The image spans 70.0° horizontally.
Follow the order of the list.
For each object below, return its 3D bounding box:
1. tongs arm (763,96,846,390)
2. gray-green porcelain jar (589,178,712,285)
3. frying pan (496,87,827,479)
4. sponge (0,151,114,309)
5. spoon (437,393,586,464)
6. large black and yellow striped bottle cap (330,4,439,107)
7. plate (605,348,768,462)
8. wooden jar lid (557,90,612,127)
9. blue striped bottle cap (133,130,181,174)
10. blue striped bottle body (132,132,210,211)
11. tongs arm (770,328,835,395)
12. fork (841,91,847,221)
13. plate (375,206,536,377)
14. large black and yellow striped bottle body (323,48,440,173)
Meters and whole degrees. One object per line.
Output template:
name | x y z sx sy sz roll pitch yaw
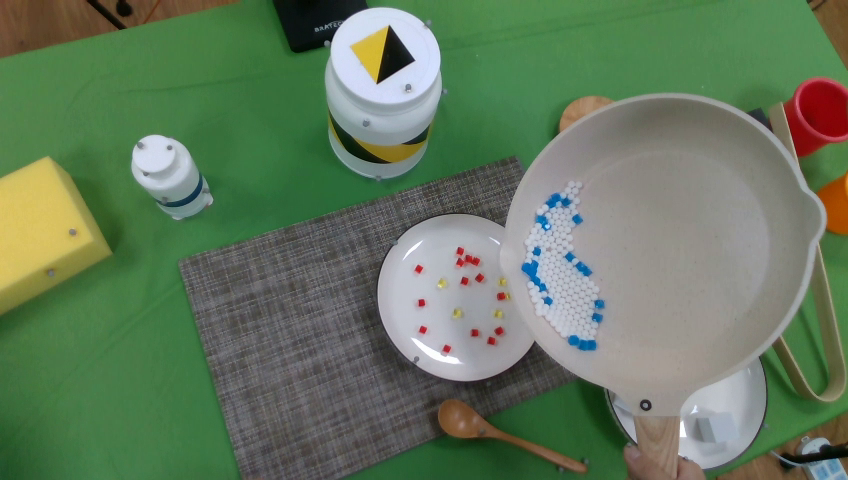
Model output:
tongs arm | 0.495 0.001 0.792 0.028 0.027 0.386 -9 86 -18
gray-green porcelain jar | 0.269 -0.004 0.744 0.106 0.127 0.105 2 74 -7
frying pan | 0.215 0.096 0.577 0.305 0.104 0.485 -7 69 34
sponge | -0.479 0.006 0.674 0.207 0.061 0.118 -33 81 -15
spoon | 0.104 0.227 0.710 0.194 0.022 0.041 21 54 -3
large black and yellow striped bottle cap | -0.041 -0.195 0.635 0.115 0.019 0.114 2 74 -6
plate | 0.318 0.165 0.751 0.208 0.039 0.206 2 74 -7
wooden jar lid | 0.235 -0.155 0.836 0.108 0.021 0.108 2 76 -7
blue striped bottle cap | -0.283 -0.094 0.642 0.044 0.021 0.044 2 72 -4
blue striped bottle body | -0.289 -0.080 0.692 0.063 0.121 0.062 2 74 -7
tongs arm | 0.417 0.027 0.772 0.051 0.026 0.384 -24 89 -15
fork | 0.564 -0.104 0.798 0.028 0.018 0.209 -32 125 -7
plate | 0.043 0.061 0.737 0.209 0.038 0.208 2 75 -7
large black and yellow striped bottle body | -0.051 -0.172 0.716 0.131 0.184 0.130 2 74 -7
